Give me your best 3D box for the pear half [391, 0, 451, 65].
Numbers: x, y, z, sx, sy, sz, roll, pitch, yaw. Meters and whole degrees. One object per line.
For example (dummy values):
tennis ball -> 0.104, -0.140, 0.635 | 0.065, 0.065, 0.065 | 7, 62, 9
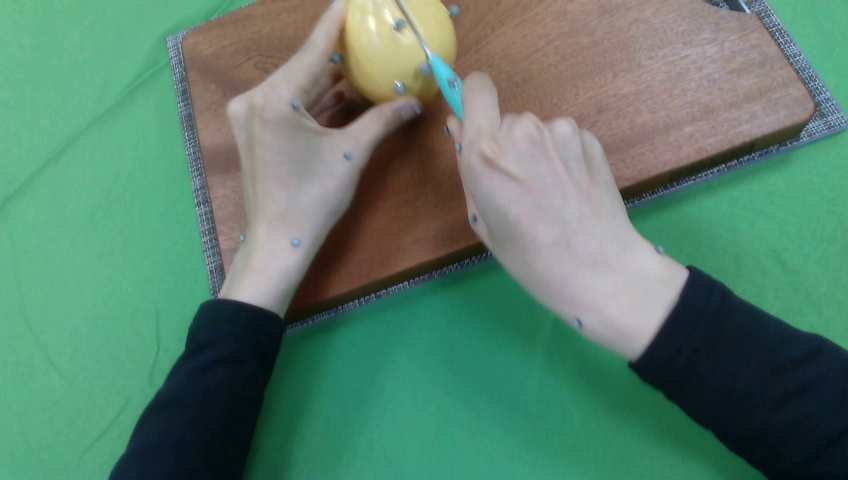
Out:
pear half -> -0.002, -0.148, 0.401 | 0.031, 0.089, 0.069 | -35, 58, -4

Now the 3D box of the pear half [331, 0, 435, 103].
pear half -> -0.036, -0.132, 0.392 | 0.056, 0.111, 0.075 | -39, 61, -1

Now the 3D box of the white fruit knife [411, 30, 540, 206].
white fruit knife -> 0.010, -0.103, 0.378 | 0.016, 0.027, 0.205 | -33, 65, 1
